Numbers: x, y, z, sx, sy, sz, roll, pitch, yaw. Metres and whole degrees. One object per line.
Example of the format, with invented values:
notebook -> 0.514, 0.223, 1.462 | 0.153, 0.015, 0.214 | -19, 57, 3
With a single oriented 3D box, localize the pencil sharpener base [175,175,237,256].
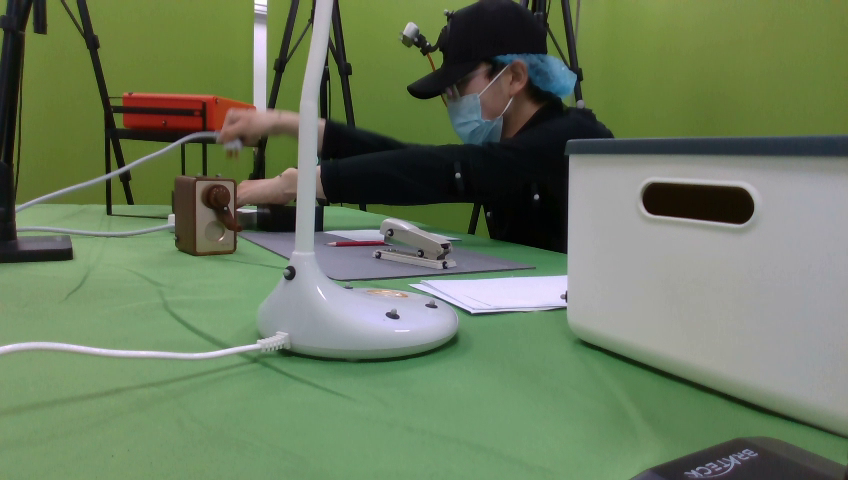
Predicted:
pencil sharpener base -> -0.305, -0.035, 0.847 | 0.062, 0.107, 0.076 | -4, 10, -42

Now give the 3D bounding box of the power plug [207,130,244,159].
power plug -> -0.385, -0.187, 1.178 | 0.072, 0.052, 0.035 | 7, 4, 20

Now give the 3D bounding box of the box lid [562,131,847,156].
box lid -> 0.322, -0.064, 0.463 | 0.373, 0.015, 0.262 | -2, 9, -31

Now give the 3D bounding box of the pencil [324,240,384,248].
pencil -> -0.067, 0.004, 0.981 | 0.195, 0.012, 0.012 | -4, 9, -23

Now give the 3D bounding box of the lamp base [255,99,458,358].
lamp base -> -0.056, -0.013, 0.462 | 0.160, 0.180, 0.180 | 6, 11, 27

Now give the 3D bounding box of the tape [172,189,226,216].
tape -> -0.515, -0.087, 1.388 | 0.117, 0.052, 0.117 | 3, 8, 0

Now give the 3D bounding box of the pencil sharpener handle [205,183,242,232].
pencil sharpener handle -> -0.265, -0.043, 0.813 | 0.036, 0.068, 0.030 | -32, 28, -35

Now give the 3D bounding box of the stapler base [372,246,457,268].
stapler base -> -0.016, 0.017, 0.831 | 0.130, 0.024, 0.041 | 10, 12, 39

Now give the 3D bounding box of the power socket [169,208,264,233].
power socket -> -0.381, -0.038, 1.130 | 0.072, 0.032, 0.227 | 4, 8, 16

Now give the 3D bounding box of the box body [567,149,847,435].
box body -> 0.318, 0.009, 0.471 | 0.366, 0.160, 0.253 | -2, 8, -31

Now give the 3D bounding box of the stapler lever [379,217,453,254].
stapler lever -> -0.013, -0.007, 0.828 | 0.117, 0.040, 0.027 | 9, 11, 39

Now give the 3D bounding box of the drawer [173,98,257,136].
drawer -> -0.518, -0.279, 1.376 | 0.211, 0.073, 0.195 | 3, 8, 9

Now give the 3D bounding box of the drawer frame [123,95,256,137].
drawer frame -> -0.524, -0.281, 1.376 | 0.213, 0.082, 0.202 | 3, 8, 8
